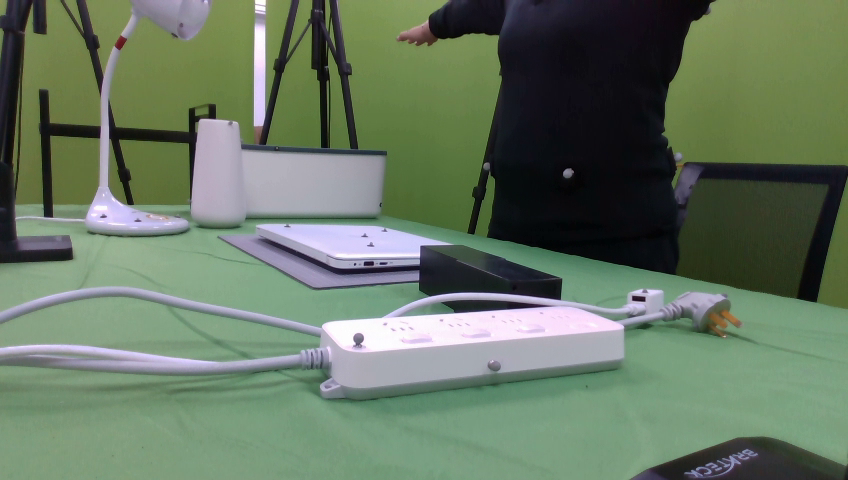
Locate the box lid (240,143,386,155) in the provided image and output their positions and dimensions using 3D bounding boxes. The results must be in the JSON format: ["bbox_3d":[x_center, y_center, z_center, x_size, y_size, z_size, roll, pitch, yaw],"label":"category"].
[{"bbox_3d":[-0.304,-0.217,1.463,0.373,0.015,0.262,-2,8,-30],"label":"box lid"}]

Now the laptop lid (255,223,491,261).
[{"bbox_3d":[-0.093,0.000,0.911,0.243,0.013,0.355,1,7,-30],"label":"laptop lid"}]

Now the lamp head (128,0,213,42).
[{"bbox_3d":[-0.423,-0.394,0.980,0.123,0.112,0.112,20,7,-3],"label":"lamp head"}]

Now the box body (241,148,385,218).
[{"bbox_3d":[-0.306,-0.144,1.474,0.366,0.160,0.253,-1,9,-30],"label":"box body"}]

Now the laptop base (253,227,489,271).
[{"bbox_3d":[-0.096,0.011,0.911,0.237,0.023,0.352,2,6,-32],"label":"laptop base"}]

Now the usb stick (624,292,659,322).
[{"bbox_3d":[0.211,0.064,0.580,0.021,0.027,0.059,-2,-4,36],"label":"usb stick"}]

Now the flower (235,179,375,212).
[{"bbox_3d":[-0.265,-0.093,1.417,0.364,0.044,0.038,8,47,-39],"label":"flower"}]

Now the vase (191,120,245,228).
[{"bbox_3d":[-0.389,-0.124,1.142,0.098,0.200,0.098,3,9,0],"label":"vase"}]

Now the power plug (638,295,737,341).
[{"bbox_3d":[0.235,0.078,0.535,0.072,0.035,0.052,-34,40,-5],"label":"power plug"}]

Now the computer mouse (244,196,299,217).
[{"bbox_3d":[-0.346,-0.077,1.373,0.118,0.041,0.062,-11,19,-33],"label":"computer mouse"}]

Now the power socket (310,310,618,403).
[{"bbox_3d":[0.033,0.074,0.415,0.228,0.032,0.072,-1,7,-24],"label":"power socket"}]

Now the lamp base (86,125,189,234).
[{"bbox_3d":[-0.497,-0.105,1.027,0.179,0.180,0.160,1,7,2],"label":"lamp base"}]
